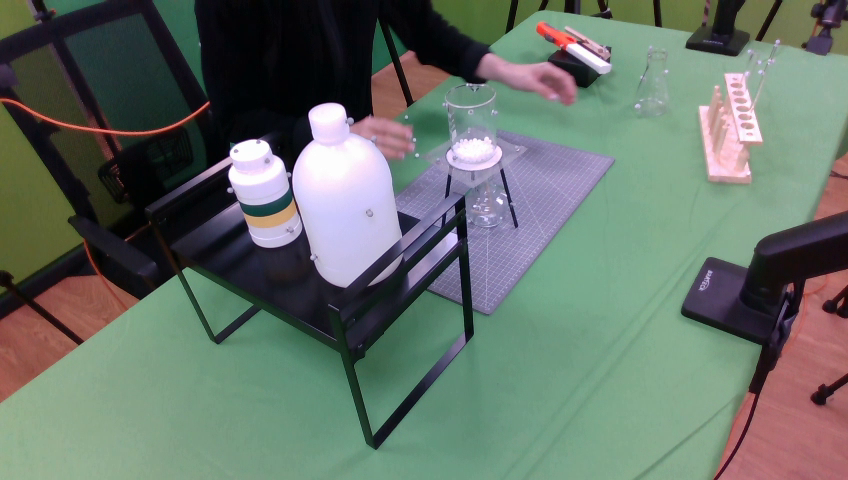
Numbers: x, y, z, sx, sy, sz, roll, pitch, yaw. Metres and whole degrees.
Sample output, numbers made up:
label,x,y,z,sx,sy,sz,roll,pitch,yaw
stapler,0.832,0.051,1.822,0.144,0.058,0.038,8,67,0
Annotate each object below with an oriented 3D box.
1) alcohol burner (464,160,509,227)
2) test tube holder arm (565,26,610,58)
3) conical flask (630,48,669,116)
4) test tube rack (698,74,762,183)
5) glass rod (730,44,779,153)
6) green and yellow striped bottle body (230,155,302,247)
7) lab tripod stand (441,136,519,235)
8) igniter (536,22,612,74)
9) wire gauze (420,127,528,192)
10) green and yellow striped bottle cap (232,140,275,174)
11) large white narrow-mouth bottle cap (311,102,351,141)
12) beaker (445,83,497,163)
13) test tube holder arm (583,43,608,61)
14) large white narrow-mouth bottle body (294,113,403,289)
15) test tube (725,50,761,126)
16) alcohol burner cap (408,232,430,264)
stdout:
label,x,y,z,sx,sy,sz,roll,pitch,yaw
alcohol burner,0.102,-0.081,0.982,0.078,0.119,0.077,-4,43,4
test tube holder arm,0.369,-0.451,1.373,0.013,0.015,0.177,-39,41,10
conical flask,0.456,-0.317,1.205,0.075,0.122,0.075,-4,41,4
test tube rack,0.547,-0.208,1.095,0.066,0.085,0.242,5,42,15
glass rod,0.555,-0.233,1.020,0.008,0.200,0.008,2,40,-1
green and yellow striped bottle body,-0.188,-0.055,0.714,0.063,0.120,0.063,-4,41,4
lab tripod stand,0.083,-0.086,0.976,0.148,0.132,0.147,-4,43,4
igniter,0.330,-0.438,1.366,0.057,0.025,0.274,-11,41,-19
wire gauze,0.076,-0.131,0.927,0.122,0.011,0.124,-34,49,-25
green and yellow striped bottle cap,-0.192,-0.094,0.680,0.045,0.020,0.045,-5,39,5
large white narrow-mouth bottle cap,-0.089,-0.114,0.579,0.038,0.024,0.037,-4,40,3
beaker,0.073,-0.175,0.904,0.074,0.101,0.084,3,42,13
test tube holder arm,0.379,-0.420,1.341,0.010,0.015,0.087,-39,41,10
large white narrow-mouth bottle body,-0.082,-0.047,0.634,0.102,0.195,0.101,-4,40,4
test tube,0.570,-0.269,1.086,0.017,0.151,0.017,-1,45,1
alcohol burner cap,-0.010,0.010,0.947,0.034,0.048,0.033,-5,40,4
